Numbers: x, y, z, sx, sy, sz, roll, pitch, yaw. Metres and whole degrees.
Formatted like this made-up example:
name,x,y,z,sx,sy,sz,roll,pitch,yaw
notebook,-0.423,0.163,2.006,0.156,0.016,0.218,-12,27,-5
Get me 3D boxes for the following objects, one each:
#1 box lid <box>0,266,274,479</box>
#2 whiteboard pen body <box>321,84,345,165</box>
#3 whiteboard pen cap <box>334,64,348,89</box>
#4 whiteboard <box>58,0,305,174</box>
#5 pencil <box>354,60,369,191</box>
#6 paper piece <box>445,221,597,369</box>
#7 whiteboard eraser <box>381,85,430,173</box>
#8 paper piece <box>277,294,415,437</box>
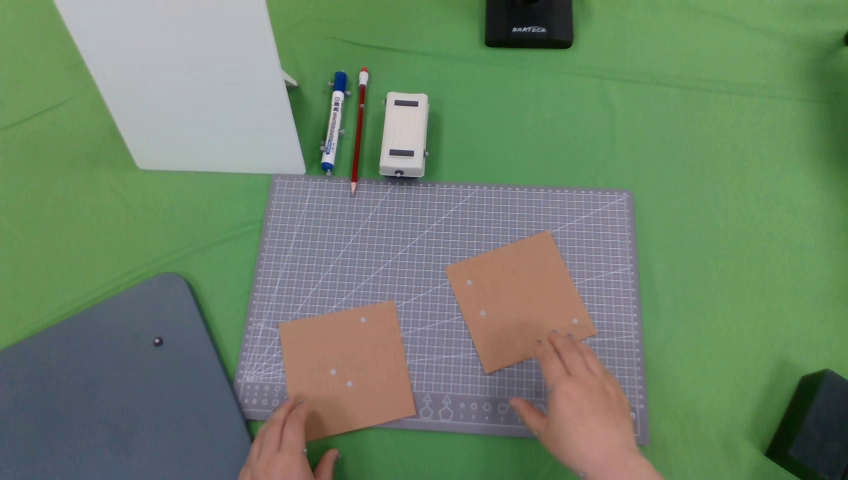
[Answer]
name,x,y,z,sx,sy,sz,roll,pitch,yaw
box lid,-0.318,0.226,0.645,0.263,0.015,0.368,-27,71,-8
whiteboard pen body,-0.116,-0.161,0.784,0.017,0.017,0.140,4,69,4
whiteboard pen cap,-0.110,-0.215,0.803,0.018,0.018,0.033,2,68,3
whiteboard,-0.253,-0.240,0.697,0.217,0.308,0.142,3,50,4
pencil,-0.081,-0.151,0.782,0.012,0.012,0.192,0,69,2
paper piece,0.109,0.061,0.694,0.136,0.009,0.137,-20,72,-1
whiteboard eraser,-0.023,-0.139,0.760,0.055,0.042,0.112,2,69,4
paper piece,-0.088,0.136,0.672,0.135,0.004,0.134,-11,70,-3
